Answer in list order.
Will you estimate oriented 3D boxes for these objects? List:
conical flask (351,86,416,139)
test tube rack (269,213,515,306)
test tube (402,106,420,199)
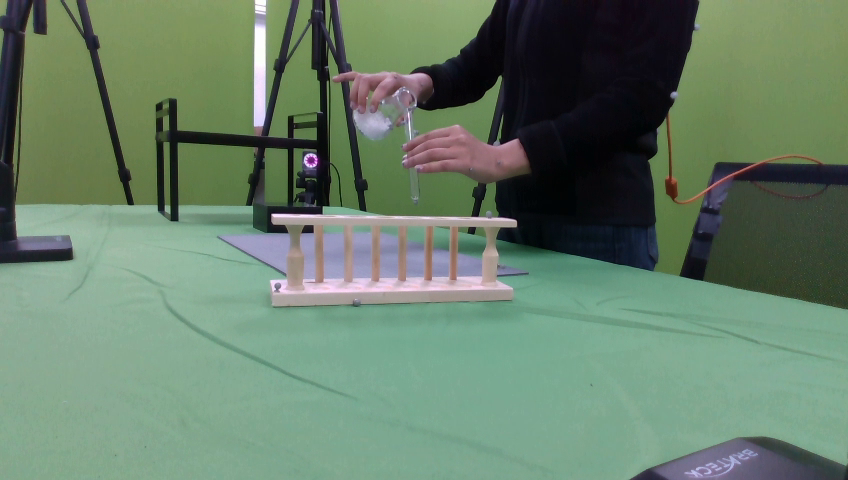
[{"bbox_3d":[-0.062,-0.217,0.994,0.076,0.075,0.121,-3,-5,-36],"label":"conical flask"},{"bbox_3d":[-0.032,0.015,0.617,0.243,0.085,0.066,0,7,-17],"label":"test tube rack"},{"bbox_3d":[-0.020,-0.135,0.927,0.017,0.150,0.017,-5,-14,-1],"label":"test tube"}]
